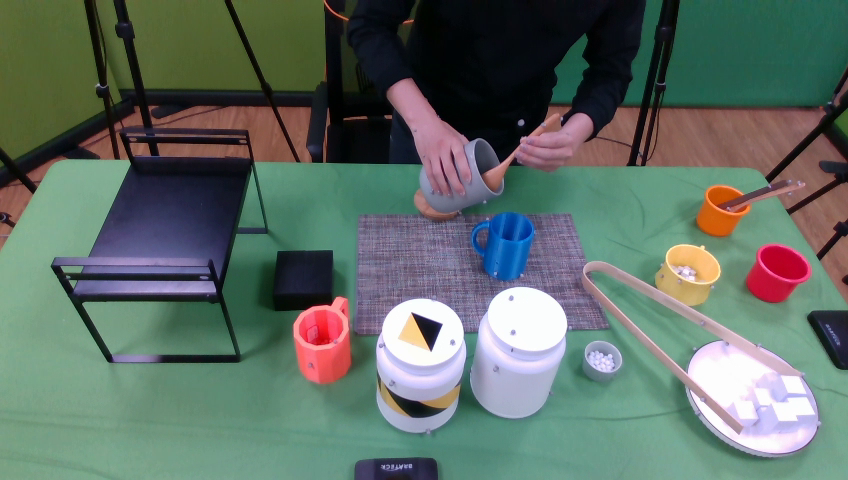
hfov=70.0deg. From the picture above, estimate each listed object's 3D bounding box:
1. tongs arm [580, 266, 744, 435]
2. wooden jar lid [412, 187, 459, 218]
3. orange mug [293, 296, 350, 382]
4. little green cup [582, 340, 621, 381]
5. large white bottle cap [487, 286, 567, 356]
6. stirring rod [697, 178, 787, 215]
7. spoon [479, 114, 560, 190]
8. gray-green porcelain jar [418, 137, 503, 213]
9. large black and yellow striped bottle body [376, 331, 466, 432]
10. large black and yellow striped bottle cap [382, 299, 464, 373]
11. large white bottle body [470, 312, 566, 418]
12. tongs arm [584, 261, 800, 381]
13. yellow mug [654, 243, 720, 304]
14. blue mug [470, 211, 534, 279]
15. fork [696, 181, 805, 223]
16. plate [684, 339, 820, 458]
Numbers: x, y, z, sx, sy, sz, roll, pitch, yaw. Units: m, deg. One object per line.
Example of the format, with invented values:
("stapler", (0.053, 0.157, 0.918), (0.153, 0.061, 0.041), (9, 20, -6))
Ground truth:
("tongs arm", (0.384, 0.173, 1.028), (0.028, 0.028, 0.385), (-25, 46, -15))
("wooden jar lid", (0.029, -0.083, 1.276), (0.108, 0.021, 0.107), (3, 43, -3))
("orange mug", (-0.158, 0.154, 0.985), (0.083, 0.101, 0.125), (17, 52, 11))
("little green cup", (0.295, 0.204, 1.014), (0.061, 0.039, 0.061), (2, 45, -2))
("large white bottle cap", (0.147, 0.114, 0.869), (0.115, 0.018, 0.114), (3, 46, -3))
("stirring rod", (0.650, -0.088, 1.245), (0.006, 0.176, 0.014), (29, 50, -39))
("spoon", (0.154, -0.147, 1.028), (0.042, 0.194, 0.021), (38, 21, -22))
("gray-green porcelain jar", (0.061, -0.111, 1.080), (0.126, 0.106, 0.105), (-19, 37, 31))
("large black and yellow striped bottle body", (-0.007, 0.189, 0.905), (0.131, 0.185, 0.130), (2, 46, -2))
("large black and yellow striped bottle cap", (-0.002, 0.132, 0.843), (0.115, 0.019, 0.114), (2, 46, -2))
("large white bottle body", (0.143, 0.174, 0.930), (0.131, 0.185, 0.130), (2, 46, -2))
("tongs arm", (0.452, 0.137, 1.064), (0.051, 0.027, 0.382), (-34, 50, -27))
("yellow mug", (0.504, 0.054, 1.154), (0.099, 0.064, 0.130), (28, 50, 22))
("blue mug", (0.141, 0.005, 1.140), (0.116, 0.106, 0.082), (18, 48, 13))
("fork", (0.659, -0.077, 1.232), (0.207, 0.019, 0.028), (-26, 35, 34))
("plate", (0.523, 0.256, 0.982), (0.208, 0.039, 0.206), (2, 46, -2))
